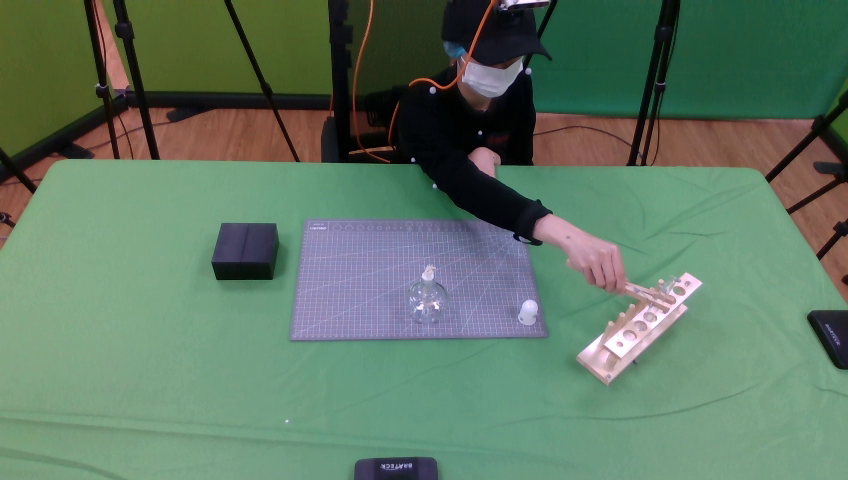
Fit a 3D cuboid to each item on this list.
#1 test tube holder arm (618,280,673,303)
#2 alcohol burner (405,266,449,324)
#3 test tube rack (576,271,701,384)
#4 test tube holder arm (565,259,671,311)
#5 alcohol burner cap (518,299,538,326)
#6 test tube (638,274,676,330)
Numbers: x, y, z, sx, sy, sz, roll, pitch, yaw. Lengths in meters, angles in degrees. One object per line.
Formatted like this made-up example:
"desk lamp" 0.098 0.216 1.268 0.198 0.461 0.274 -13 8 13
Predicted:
"test tube holder arm" 0.356 0.084 0.981 0.087 0.015 0.010 18 47 17
"alcohol burner" 0.005 0.089 1.043 0.078 0.120 0.077 1 44 -1
"test tube rack" 0.373 0.138 1.047 0.242 0.085 0.066 -31 56 -29
"test tube holder arm" 0.315 0.072 0.993 0.178 0.015 0.013 24 48 22
"alcohol burner cap" 0.186 0.126 1.072 0.034 0.048 0.033 2 45 -1
"test tube" 0.375 0.104 0.980 0.017 0.151 0.017 1 50 -1
